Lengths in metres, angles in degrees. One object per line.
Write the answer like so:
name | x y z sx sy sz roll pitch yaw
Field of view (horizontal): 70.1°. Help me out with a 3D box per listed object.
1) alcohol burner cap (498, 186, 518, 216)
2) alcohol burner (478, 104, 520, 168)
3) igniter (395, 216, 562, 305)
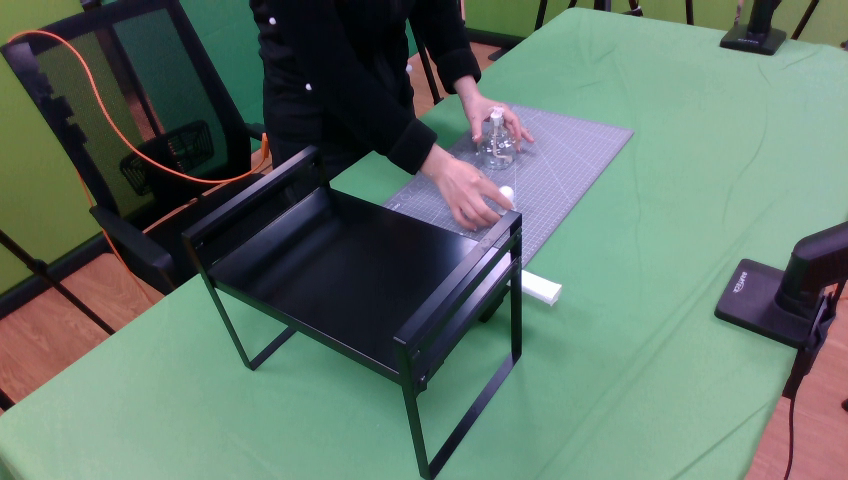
alcohol burner cap | 0.138 -0.066 0.995 0.034 0.048 0.033 -5 34 4
alcohol burner | 0.137 -0.193 1.106 0.078 0.119 0.077 -5 39 5
igniter | 0.066 0.023 0.863 0.274 0.025 0.057 24 48 28
